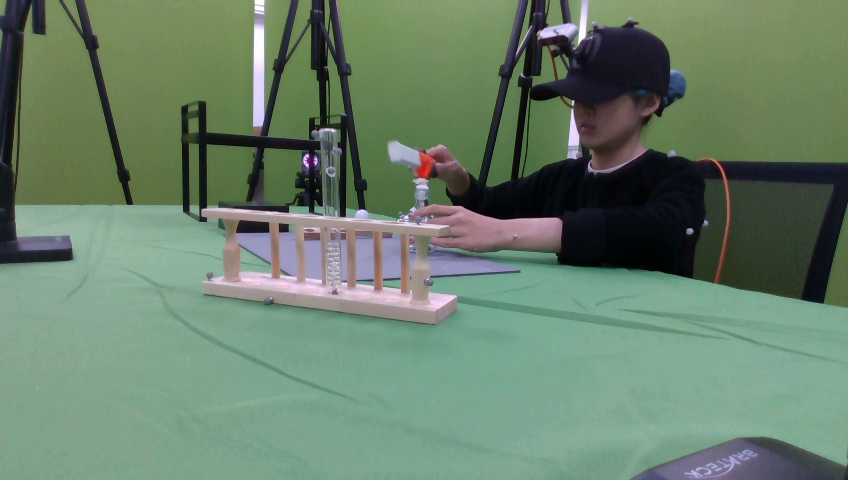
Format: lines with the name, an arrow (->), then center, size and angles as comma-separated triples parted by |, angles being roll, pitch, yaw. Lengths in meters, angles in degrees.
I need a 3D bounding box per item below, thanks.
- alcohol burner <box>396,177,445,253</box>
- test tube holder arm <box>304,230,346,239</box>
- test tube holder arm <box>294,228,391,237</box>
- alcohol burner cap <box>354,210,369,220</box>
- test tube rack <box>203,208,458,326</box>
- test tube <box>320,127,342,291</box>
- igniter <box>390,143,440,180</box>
alcohol burner -> -0.005, -0.039, 0.943 | 0.078, 0.119, 0.078 | 5, 7, 0
test tube holder arm -> -0.175, -0.009, 1.027 | 0.088, 0.015, 0.010 | 0, 44, -31
test tube holder arm -> -0.138, -0.013, 1.054 | 0.179, 0.015, 0.013 | -1, 44, -32
alcohol burner cap -> -0.118, -0.032, 1.134 | 0.034, 0.048, 0.034 | 2, 7, 0
test tube rack -> -0.090, 0.019, 0.579 | 0.241, 0.085, 0.067 | 5, 7, 19
test tube -> -0.085, -0.027, 0.554 | 0.017, 0.150, 0.017 | -1, 7, 0
igniter -> -0.010, -0.139, 1.078 | 0.025, 0.057, 0.277 | -6, -1, 14
